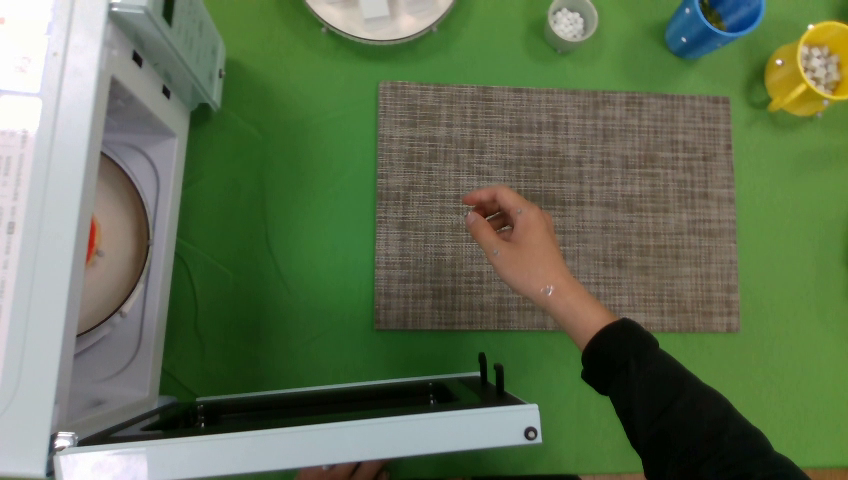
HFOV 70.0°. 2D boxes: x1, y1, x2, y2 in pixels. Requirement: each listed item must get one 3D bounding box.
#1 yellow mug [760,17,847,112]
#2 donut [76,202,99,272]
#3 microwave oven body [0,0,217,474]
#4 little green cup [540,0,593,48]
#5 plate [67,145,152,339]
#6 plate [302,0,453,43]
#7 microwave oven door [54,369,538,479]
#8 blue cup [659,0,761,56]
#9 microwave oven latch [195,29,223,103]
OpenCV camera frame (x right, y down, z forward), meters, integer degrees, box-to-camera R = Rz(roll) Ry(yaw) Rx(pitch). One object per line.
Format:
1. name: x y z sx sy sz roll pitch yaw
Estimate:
1. yellow mug: 0.479 -0.210 0.762 0.131 0.064 0.100 -41 89 -7
2. donut: -0.375 -0.006 0.599 0.099 0.048 0.099 0 85 -4
3. microwave oven body: -0.397 -0.044 0.559 0.326 0.260 0.440 4 84 -5
4. little green cup: 0.174 -0.271 0.753 0.061 0.038 0.061 1 83 -5
5. plate: -0.380 0.000 0.609 0.209 0.038 0.208 1 84 -6
6. plate: -0.057 -0.335 0.738 0.208 0.039 0.207 1 84 -5
7. microwave oven door: -0.097 0.164 0.561 0.356 0.244 0.039 -4 83 -6
8. blue cup: 0.338 -0.272 0.737 0.093 0.100 0.092 1 85 -6
9. microwave oven latch: -0.247 -0.198 0.686 0.030 0.029 0.079 6 84 -5
